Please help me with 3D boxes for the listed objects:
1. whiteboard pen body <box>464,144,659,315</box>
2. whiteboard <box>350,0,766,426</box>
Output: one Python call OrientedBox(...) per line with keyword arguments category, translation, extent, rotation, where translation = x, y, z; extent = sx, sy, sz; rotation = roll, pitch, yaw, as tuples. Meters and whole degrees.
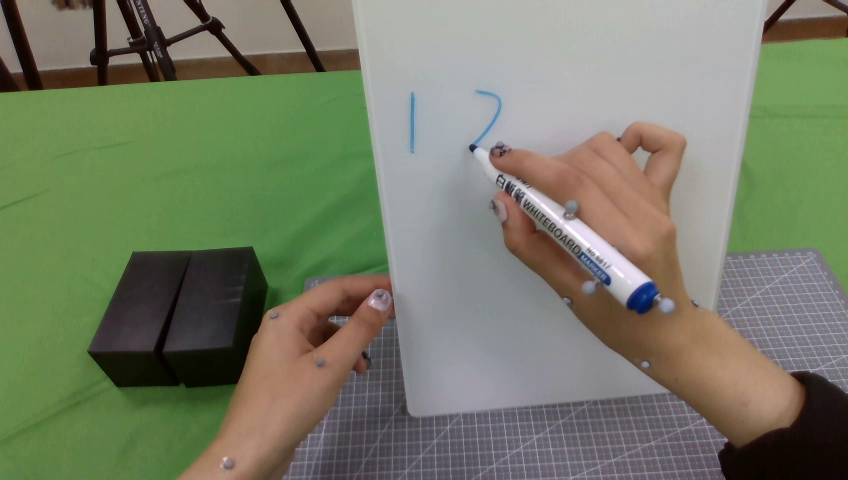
OrientedBox(category="whiteboard pen body", translation=(0.059, -0.013, 0.299), extent=(0.017, 0.017, 0.139), rotation=(-25, 48, -19))
OrientedBox(category="whiteboard", translation=(0.079, -0.042, 0.428), extent=(0.217, 0.308, 0.142), rotation=(-5, 28, 0))
